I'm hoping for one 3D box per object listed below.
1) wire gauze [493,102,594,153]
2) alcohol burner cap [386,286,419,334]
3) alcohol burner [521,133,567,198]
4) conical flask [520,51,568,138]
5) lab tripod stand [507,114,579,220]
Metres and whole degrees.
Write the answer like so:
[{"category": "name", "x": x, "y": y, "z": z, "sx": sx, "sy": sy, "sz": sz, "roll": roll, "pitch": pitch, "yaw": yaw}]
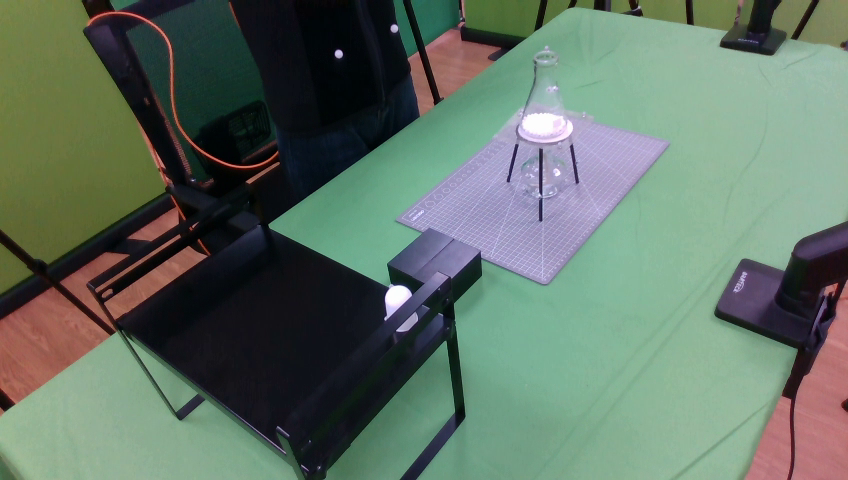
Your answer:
[{"category": "wire gauze", "x": 0.191, "y": -0.179, "z": 0.965, "sx": 0.120, "sy": 0.011, "sz": 0.125, "roll": 18, "pitch": 49, "yaw": 29}, {"category": "alcohol burner cap", "x": -0.024, "y": 0.067, "z": 0.604, "sx": 0.034, "sy": 0.048, "sz": 0.033, "roll": -4, "pitch": 40, "yaw": 4}, {"category": "alcohol burner", "x": 0.204, "y": -0.131, "z": 1.023, "sx": 0.078, "sy": 0.119, "sz": 0.077, "roll": -5, "pitch": 42, "yaw": 5}, {"category": "conical flask", "x": 0.185, "y": -0.223, "z": 0.926, "sx": 0.075, "sy": 0.122, "sz": 0.075, "roll": -4, "pitch": 41, "yaw": 4}, {"category": "lab tripod stand", "x": 0.199, "y": -0.128, "z": 1.005, "sx": 0.148, "sy": 0.132, "sz": 0.147, "roll": -3, "pitch": 42, "yaw": 3}]
